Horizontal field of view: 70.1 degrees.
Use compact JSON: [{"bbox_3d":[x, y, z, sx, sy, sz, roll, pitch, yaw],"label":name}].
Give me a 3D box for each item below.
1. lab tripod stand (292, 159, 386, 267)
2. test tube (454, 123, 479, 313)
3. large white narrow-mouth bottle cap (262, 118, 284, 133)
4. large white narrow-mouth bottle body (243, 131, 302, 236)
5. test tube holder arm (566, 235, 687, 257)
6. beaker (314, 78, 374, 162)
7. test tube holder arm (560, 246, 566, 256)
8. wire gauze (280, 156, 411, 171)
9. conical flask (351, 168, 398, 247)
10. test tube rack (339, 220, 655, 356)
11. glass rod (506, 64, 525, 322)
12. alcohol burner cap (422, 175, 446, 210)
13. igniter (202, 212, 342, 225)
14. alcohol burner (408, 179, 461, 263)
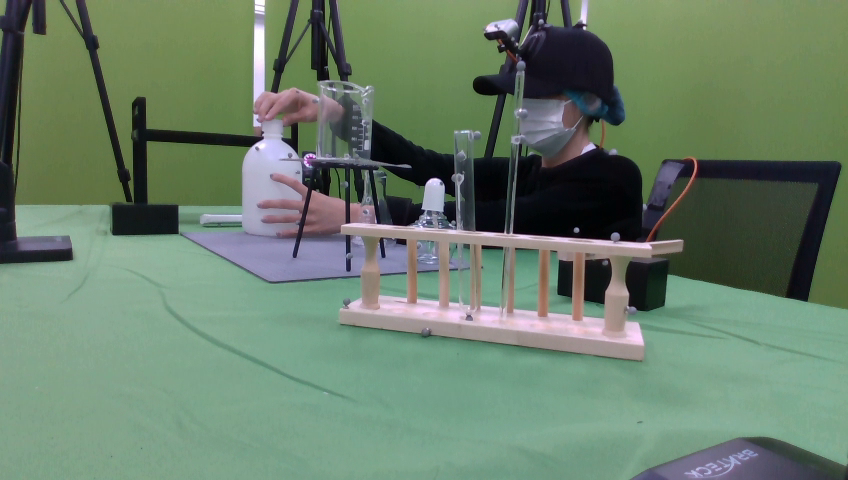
[{"bbox_3d":[-0.105,-0.039,0.797,0.148,0.131,0.148,2,5,0],"label":"lab tripod stand"},{"bbox_3d":[0.034,-0.016,0.477,0.017,0.150,0.017,-2,9,1],"label":"test tube"},{"bbox_3d":[-0.262,-0.198,1.048,0.038,0.024,0.037,2,8,0],"label":"large white narrow-mouth bottle cap"},{"bbox_3d":[-0.265,-0.109,1.062,0.102,0.194,0.102,2,8,0],"label":"large white narrow-mouth bottle body"},{"bbox_3d":[0.215,0.006,0.629,0.179,0.015,0.013,-3,9,-30],"label":"test tube holder arm"},{"bbox_3d":[-0.101,-0.151,0.775,0.074,0.100,0.083,-2,8,-39],"label":"beaker"},{"bbox_3d":[0.173,0.007,0.611,0.088,0.015,0.010,-3,9,-30],"label":"test tube holder arm"},{"bbox_3d":[-0.103,-0.103,0.785,0.121,0.011,0.126,11,8,42],"label":"wire gauze"},{"bbox_3d":[-0.078,-0.053,0.962,0.075,0.122,0.075,2,7,0],"label":"conical flask"},{"bbox_3d":[0.056,0.032,0.495,0.242,0.085,0.067,4,7,15],"label":"test tube rack"},{"bbox_3d":[0.069,-0.030,0.458,0.008,0.199,0.008,0,15,0],"label":"glass rod"},{"bbox_3d":[0.016,-0.065,0.830,0.034,0.048,0.034,7,4,0],"label":"alcohol burner cap"},{"bbox_3d":[-0.298,-0.043,1.216,0.278,0.025,0.057,-3,-2,-32],"label":"igniter"},{"bbox_3d":[0.013,-0.029,0.834,0.078,0.119,0.078,0,6,0],"label":"alcohol burner"}]
